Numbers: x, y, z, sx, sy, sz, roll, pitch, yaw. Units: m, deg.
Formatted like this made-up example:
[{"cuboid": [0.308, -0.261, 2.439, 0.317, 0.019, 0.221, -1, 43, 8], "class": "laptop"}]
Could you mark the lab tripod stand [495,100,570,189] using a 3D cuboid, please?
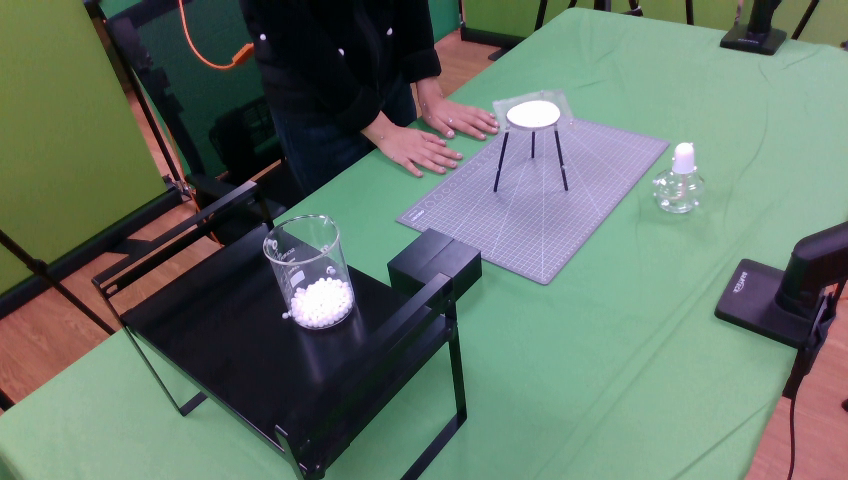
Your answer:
[{"cuboid": [0.186, -0.160, 1.043, 0.148, 0.132, 0.147, -4, 43, 5], "class": "lab tripod stand"}]

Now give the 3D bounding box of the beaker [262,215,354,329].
[{"cuboid": [-0.112, 0.034, 0.616, 0.073, 0.101, 0.084, 13, 44, 23], "class": "beaker"}]

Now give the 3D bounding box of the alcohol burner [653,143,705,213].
[{"cuboid": [0.408, -0.102, 0.963, 0.078, 0.119, 0.077, -6, 42, 5], "class": "alcohol burner"}]

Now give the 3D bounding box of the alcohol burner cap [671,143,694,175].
[{"cuboid": [0.403, -0.129, 0.941, 0.034, 0.048, 0.033, -9, 40, 8], "class": "alcohol burner cap"}]

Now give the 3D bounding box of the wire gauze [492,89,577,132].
[{"cuboid": [0.181, -0.213, 1.002, 0.125, 0.011, 0.121, -5, 41, 3], "class": "wire gauze"}]
